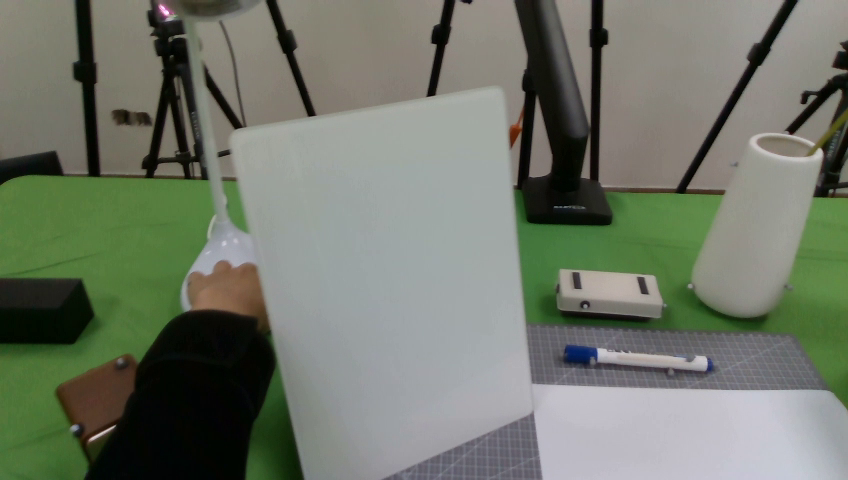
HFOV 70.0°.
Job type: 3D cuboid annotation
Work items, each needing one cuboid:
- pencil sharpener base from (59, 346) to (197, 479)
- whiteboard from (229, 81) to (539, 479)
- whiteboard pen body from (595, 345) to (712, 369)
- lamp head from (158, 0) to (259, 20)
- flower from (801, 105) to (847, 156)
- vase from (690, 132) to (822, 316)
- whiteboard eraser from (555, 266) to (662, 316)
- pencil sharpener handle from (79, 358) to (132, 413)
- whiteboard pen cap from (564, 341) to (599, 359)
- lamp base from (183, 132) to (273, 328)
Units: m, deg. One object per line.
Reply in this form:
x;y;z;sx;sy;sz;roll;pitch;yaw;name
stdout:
-0.236;0.151;0.486;0.061;0.108;0.076;-27;42;-34;pencil sharpener base
-0.038;0.031;0.543;0.218;0.307;0.142;-15;18;-21;whiteboard
0.222;0.119;0.622;0.140;0.017;0.017;4;34;5;whiteboard pen body
-0.186;-0.255;0.482;0.112;0.113;0.122;-21;64;-28;lamp head
0.374;-0.074;0.606;0.044;0.364;0.038;-11;53;-27;flower
0.364;-0.013;0.664;0.098;0.201;0.097;1;34;-1;vase
0.209;0.060;0.692;0.112;0.042;0.055;3;31;5;whiteboard eraser
-0.269;0.119;0.511;0.036;0.068;0.030;-34;46;-28;pencil sharpener handle
0.163;0.115;0.626;0.033;0.018;0.018;6;34;3;whiteboard pen cap
-0.208;-0.021;0.679;0.177;0.182;0.161;27;42;37;lamp base
